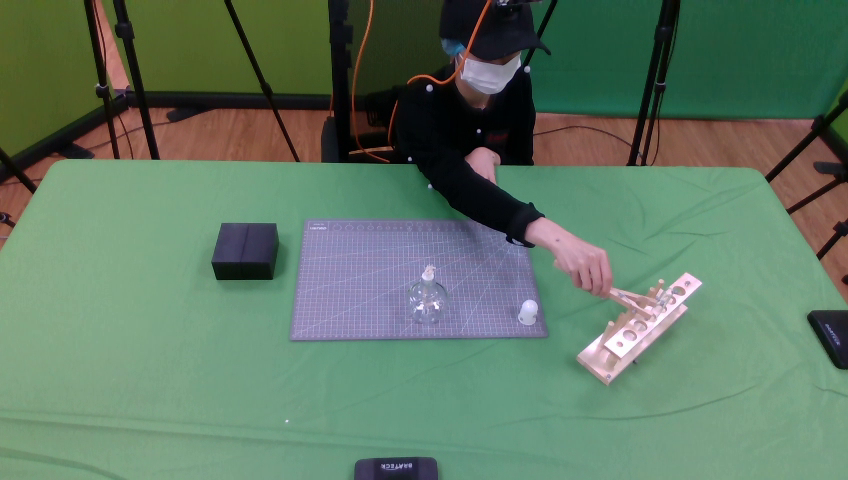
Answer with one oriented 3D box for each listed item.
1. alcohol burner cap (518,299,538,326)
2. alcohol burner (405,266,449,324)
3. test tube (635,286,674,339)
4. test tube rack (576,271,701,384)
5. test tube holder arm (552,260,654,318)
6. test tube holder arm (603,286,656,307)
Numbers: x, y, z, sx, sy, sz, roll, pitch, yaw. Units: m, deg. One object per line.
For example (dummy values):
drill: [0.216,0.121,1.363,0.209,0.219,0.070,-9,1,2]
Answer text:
alcohol burner cap: [0.186,0.126,1.072,0.034,0.048,0.033,2,45,-1]
alcohol burner: [0.005,0.089,1.043,0.078,0.120,0.077,1,45,-1]
test tube: [0.375,0.123,0.994,0.017,0.151,0.017,2,52,-2]
test tube rack: [0.373,0.138,1.047,0.242,0.085,0.066,-31,56,-29]
test tube holder arm: [0.294,0.080,1.006,0.178,0.015,0.013,28,48,20]
test tube holder arm: [0.336,0.093,0.998,0.088,0.015,0.010,14,46,6]
